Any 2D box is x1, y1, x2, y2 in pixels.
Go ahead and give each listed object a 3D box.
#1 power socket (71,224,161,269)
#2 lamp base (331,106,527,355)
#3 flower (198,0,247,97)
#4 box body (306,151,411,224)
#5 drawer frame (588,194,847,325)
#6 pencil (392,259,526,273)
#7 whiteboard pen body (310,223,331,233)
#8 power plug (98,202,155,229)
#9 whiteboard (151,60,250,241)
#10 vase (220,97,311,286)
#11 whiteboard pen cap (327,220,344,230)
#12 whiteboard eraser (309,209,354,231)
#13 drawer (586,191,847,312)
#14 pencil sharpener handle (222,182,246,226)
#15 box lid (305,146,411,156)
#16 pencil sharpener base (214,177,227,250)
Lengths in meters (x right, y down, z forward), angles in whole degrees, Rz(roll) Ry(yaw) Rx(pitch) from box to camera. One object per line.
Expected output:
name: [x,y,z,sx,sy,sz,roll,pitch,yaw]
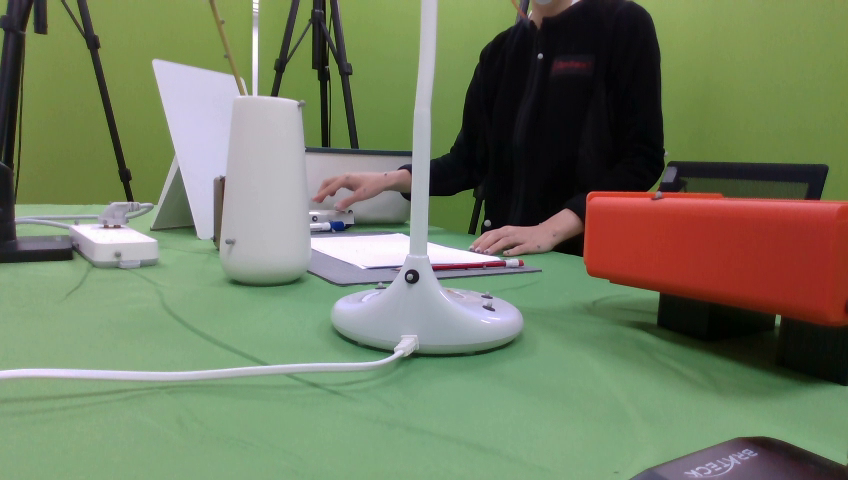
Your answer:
power socket: [-0.408,0.004,0.793,0.072,0.032,0.225,-2,8,-38]
lamp base: [0.006,-0.012,0.478,0.161,0.180,0.179,2,10,2]
flower: [-0.187,-0.133,0.648,0.038,0.362,0.044,-1,22,43]
box body: [-0.230,-0.126,1.371,0.366,0.160,0.253,-2,9,-33]
drawer frame: [0.286,0.004,0.508,0.203,0.082,0.212,-1,6,-29]
pencil: [0.049,0.035,0.782,0.195,0.012,0.012,-3,9,-25]
whiteboard pen body: [-0.207,-0.021,1.081,0.017,0.017,0.141,9,10,41]
power plug: [-0.416,-0.027,0.848,0.073,0.052,0.035,0,8,-28]
whiteboard: [-0.408,-0.139,1.093,0.143,0.305,0.218,-15,0,25]
vase: [-0.172,-0.052,0.662,0.098,0.200,0.098,3,8,0]
whiteboard pen cap: [-0.166,-0.027,1.124,0.018,0.018,0.033,9,12,43]
whiteboard eraser: [-0.196,-0.038,1.167,0.113,0.042,0.055,-3,6,-33]
drawer: [0.281,0.001,0.512,0.195,0.073,0.210,-1,8,-29]
pencil sharpener handle: [-0.289,-0.055,0.912,0.036,0.067,0.030,-3,9,-29]
box lid: [-0.229,-0.200,1.361,0.373,0.015,0.262,-3,9,-32]
pencil sharpener base: [-0.265,-0.036,0.870,0.061,0.107,0.076,-2,8,-29]
